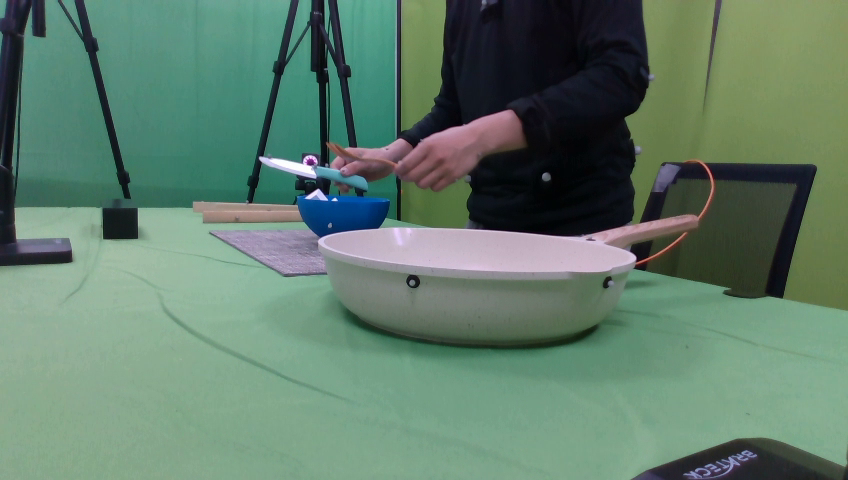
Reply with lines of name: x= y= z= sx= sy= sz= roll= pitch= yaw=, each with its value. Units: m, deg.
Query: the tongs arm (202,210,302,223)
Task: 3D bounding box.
tongs arm: x=-0.298 y=-0.057 z=1.354 sx=0.390 sy=0.028 sz=0.028 roll=-3 pitch=7 yaw=-36

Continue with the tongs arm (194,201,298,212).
tongs arm: x=-0.335 y=-0.072 z=1.424 sx=0.387 sy=0.026 sz=0.050 roll=0 pitch=9 yaw=-24

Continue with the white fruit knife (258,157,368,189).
white fruit knife: x=-0.197 y=-0.125 z=1.100 sx=0.208 sy=0.027 sz=0.016 roll=10 pitch=-22 yaw=-29

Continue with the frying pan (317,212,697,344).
frying pan: x=0.133 y=0.013 z=0.629 sx=0.490 sy=0.102 sz=0.305 roll=-12 pitch=14 yaw=-31

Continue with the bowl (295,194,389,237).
bowl: x=-0.132 y=-0.032 z=0.980 sx=0.151 sy=0.077 sz=0.151 roll=2 pitch=7 yaw=0

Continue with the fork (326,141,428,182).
fork: x=-0.062 y=-0.114 z=0.903 sx=0.028 sy=0.018 sz=0.208 roll=-21 pitch=-19 yaw=36
